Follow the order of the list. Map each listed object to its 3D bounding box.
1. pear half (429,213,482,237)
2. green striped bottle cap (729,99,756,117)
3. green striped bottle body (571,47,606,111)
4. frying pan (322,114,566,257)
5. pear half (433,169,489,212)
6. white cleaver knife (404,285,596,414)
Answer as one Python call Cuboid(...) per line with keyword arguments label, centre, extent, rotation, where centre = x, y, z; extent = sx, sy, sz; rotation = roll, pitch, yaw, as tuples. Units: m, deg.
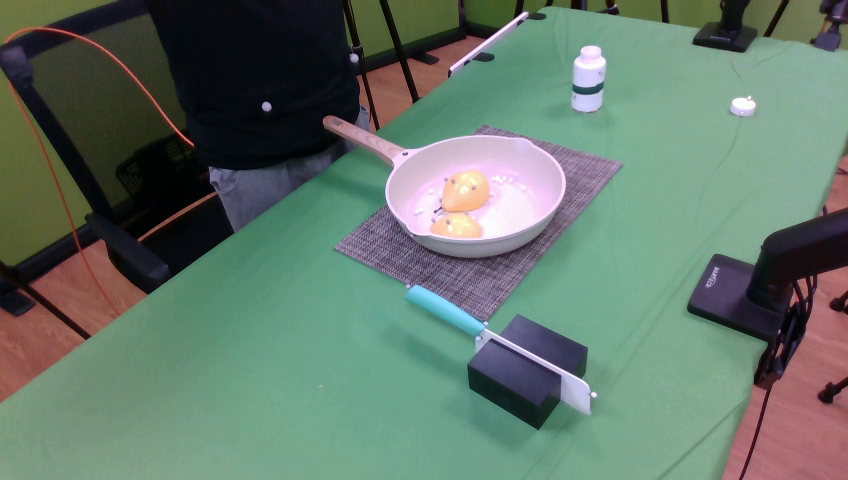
Cuboid(label="pear half", centre=(0.050, -0.024, 0.973), extent=(0.087, 0.031, 0.070), rotation=(14, 40, 18))
Cuboid(label="green striped bottle cap", centre=(0.623, -0.259, 1.182), extent=(0.044, 0.020, 0.044), rotation=(-4, 40, 4))
Cuboid(label="green striped bottle body", centre=(0.333, -0.327, 1.224), extent=(0.063, 0.120, 0.063), rotation=(-4, 41, 4))
Cuboid(label="frying pan", centre=(0.004, -0.121, 1.039), extent=(0.484, 0.103, 0.308), rotation=(31, 52, 25))
Cuboid(label="pear half", centre=(0.057, -0.083, 1.024), extent=(0.110, 0.056, 0.075), rotation=(-34, 42, -25))
Cuboid(label="white cleaver knife", centre=(0.084, 0.135, 0.764), extent=(0.284, 0.066, 0.021), rotation=(27, 46, 31))
